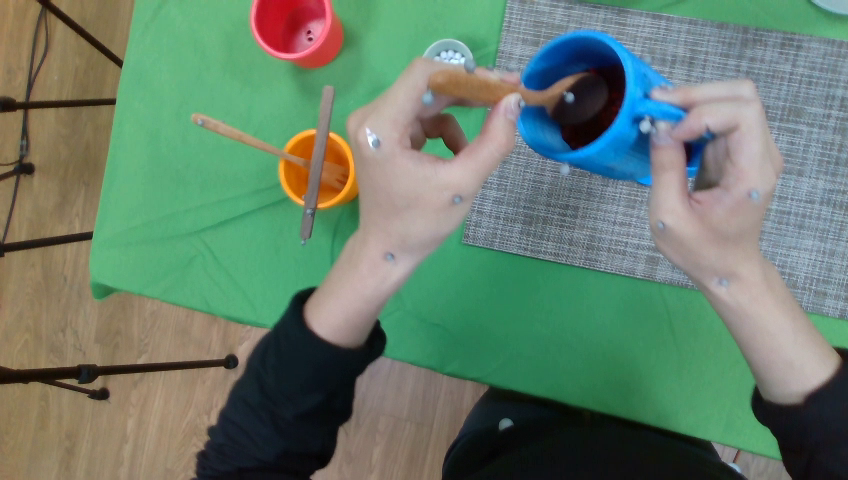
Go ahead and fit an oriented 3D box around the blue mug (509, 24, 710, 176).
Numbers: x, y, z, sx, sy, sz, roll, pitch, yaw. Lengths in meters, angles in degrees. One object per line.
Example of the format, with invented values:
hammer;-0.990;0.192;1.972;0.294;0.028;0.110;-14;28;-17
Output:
blue mug;0.133;-0.088;0.410;0.115;0.106;0.082;20;100;37

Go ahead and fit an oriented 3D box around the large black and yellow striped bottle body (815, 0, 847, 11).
large black and yellow striped bottle body;0.456;-0.312;0.575;0.130;0.184;0.131;0;92;9

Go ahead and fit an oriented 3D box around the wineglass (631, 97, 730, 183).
wineglass;0.249;-0.096;0.616;0.073;0.172;0.073;0;91;9

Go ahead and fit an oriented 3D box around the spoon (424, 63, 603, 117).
spoon;0.062;-0.090;0.358;0.021;0.194;0.042;52;123;15

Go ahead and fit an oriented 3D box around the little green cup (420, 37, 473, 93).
little green cup;0.029;-0.204;0.717;0.061;0.038;0.061;0;93;9

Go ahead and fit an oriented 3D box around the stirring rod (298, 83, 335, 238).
stirring rod;-0.122;-0.089;0.686;0.014;0.006;0.176;11;93;8

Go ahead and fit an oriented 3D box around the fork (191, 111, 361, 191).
fork;-0.163;-0.101;0.694;0.209;0.018;0.028;21;104;-36
